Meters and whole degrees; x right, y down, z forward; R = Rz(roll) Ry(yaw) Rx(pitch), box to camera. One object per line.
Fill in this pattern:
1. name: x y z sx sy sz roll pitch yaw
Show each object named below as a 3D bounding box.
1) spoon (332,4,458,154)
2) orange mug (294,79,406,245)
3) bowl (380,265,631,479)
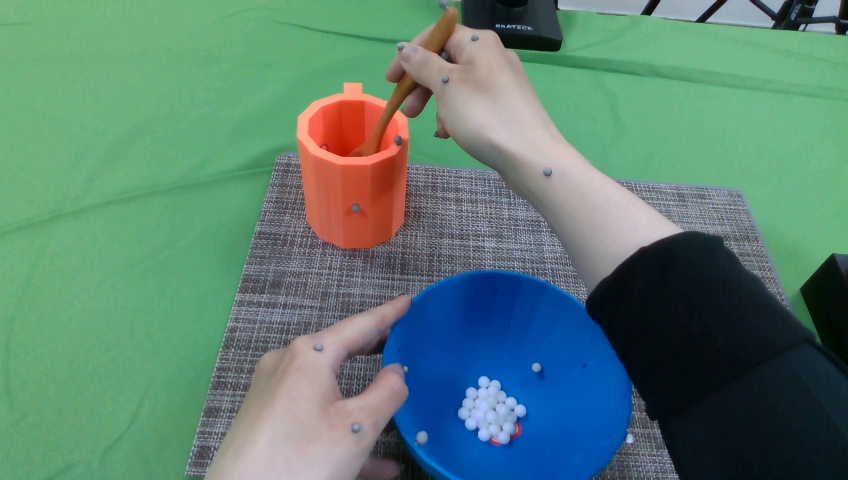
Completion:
1. spoon: -0.030 -0.094 0.451 0.041 0.194 0.021 50 44 8
2. orange mug: -0.061 -0.073 0.507 0.083 0.101 0.125 -2 56 -7
3. bowl: 0.046 0.098 0.389 0.151 0.077 0.150 3 50 -4
